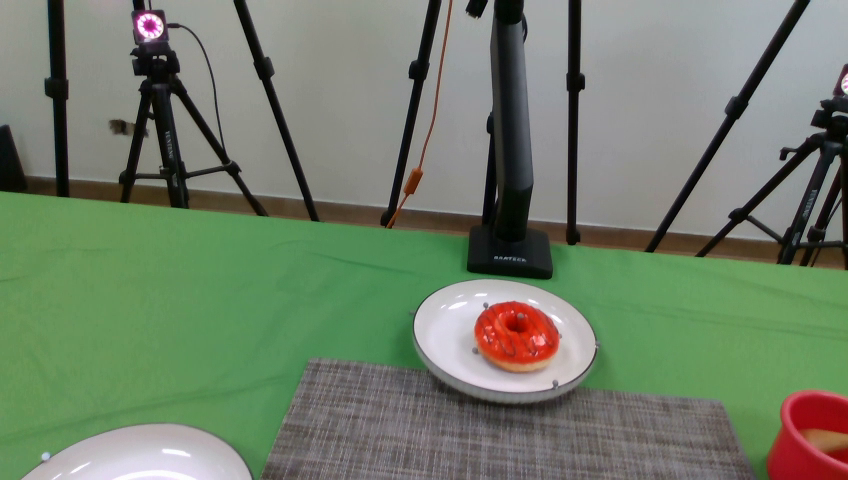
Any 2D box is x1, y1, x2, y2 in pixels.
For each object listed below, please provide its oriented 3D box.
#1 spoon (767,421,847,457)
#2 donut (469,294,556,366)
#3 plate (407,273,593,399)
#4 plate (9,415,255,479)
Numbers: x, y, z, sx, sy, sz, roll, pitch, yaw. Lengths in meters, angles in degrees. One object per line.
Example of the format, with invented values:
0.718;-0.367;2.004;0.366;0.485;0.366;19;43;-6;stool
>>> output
0.397;0.164;0.526;0.193;0.022;0.041;-24;10;39;spoon
0.099;0.101;0.682;0.099;0.048;0.098;3;33;-2;donut
0.084;0.109;0.690;0.208;0.039;0.206;3;30;-1;plate
-0.236;0.228;0.472;0.209;0.038;0.207;2;32;-1;plate
